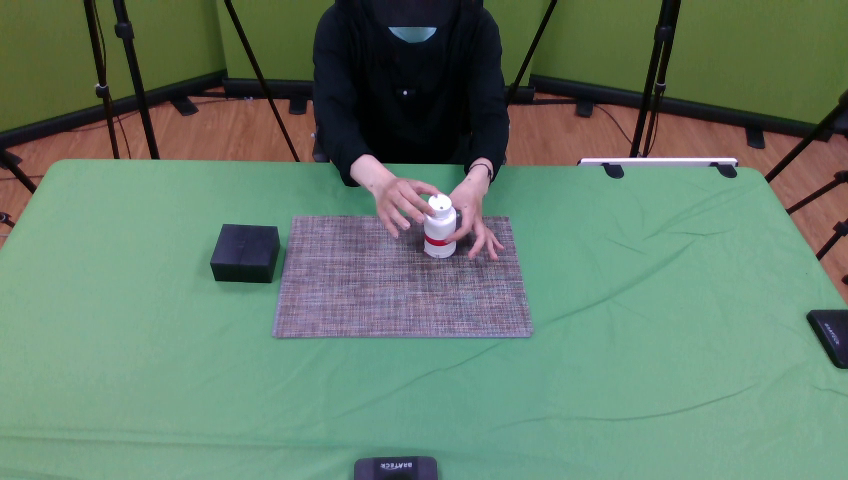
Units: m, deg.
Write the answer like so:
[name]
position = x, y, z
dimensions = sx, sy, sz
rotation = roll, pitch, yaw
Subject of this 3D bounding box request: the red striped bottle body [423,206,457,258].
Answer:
[red striped bottle body]
position = 0.031, -0.026, 1.145
dimensions = 0.063, 0.120, 0.062
rotation = -2, 48, 2

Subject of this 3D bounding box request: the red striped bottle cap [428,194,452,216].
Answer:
[red striped bottle cap]
position = 0.029, -0.065, 1.102
dimensions = 0.044, 0.018, 0.044
rotation = 2, 49, -2
